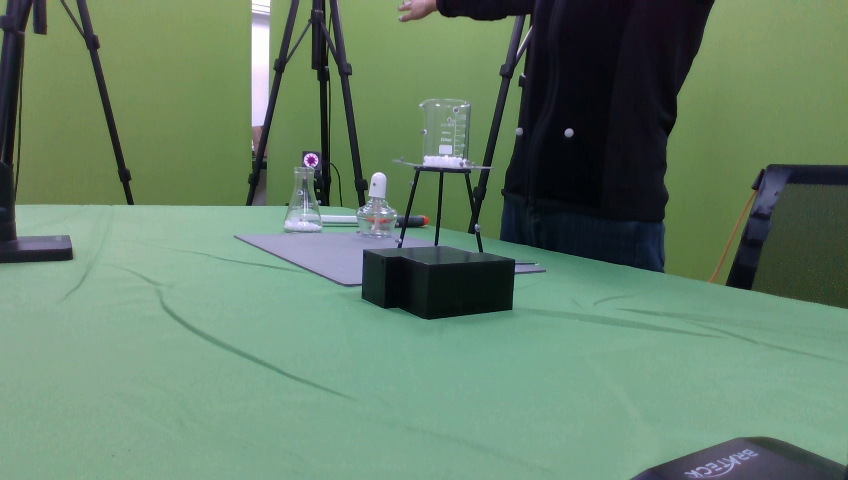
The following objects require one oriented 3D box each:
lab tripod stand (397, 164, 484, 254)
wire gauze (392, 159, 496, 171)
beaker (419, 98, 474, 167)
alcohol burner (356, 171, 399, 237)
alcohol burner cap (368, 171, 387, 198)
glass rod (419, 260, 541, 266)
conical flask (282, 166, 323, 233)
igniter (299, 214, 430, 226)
[{"bbox_3d":[0.029,-0.049,0.930,0.148,0.131,0.148,4,7,0],"label":"lab tripod stand"},{"bbox_3d":[0.032,-0.114,0.923,0.124,0.011,0.122,5,5,32],"label":"wire gauze"},{"bbox_3d":[0.032,-0.161,0.913,0.084,0.100,0.074,1,7,-10],"label":"beaker"},{"bbox_3d":[-0.084,-0.064,1.092,0.078,0.119,0.078,2,10,0],"label":"alcohol burner"},{"bbox_3d":[-0.083,-0.100,1.088,0.034,0.048,0.034,6,3,0],"label":"alcohol burner cap"},{"bbox_3d":[0.080,0.031,0.808,0.201,0.008,0.008,1,7,-32],"label":"glass rod"},{"bbox_3d":[-0.225,-0.076,1.129,0.075,0.122,0.075,2,8,0],"label":"conical flask"},{"bbox_3d":[-0.123,-0.044,1.281,0.278,0.025,0.057,0,-2,-19],"label":"igniter"}]
